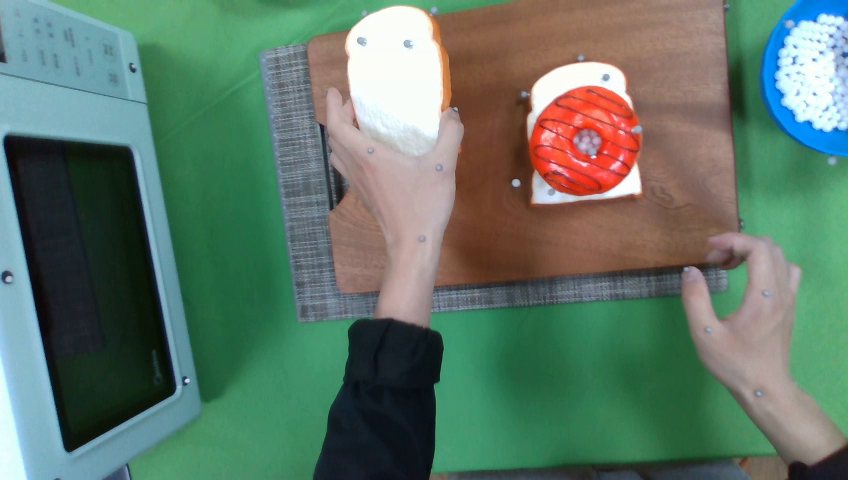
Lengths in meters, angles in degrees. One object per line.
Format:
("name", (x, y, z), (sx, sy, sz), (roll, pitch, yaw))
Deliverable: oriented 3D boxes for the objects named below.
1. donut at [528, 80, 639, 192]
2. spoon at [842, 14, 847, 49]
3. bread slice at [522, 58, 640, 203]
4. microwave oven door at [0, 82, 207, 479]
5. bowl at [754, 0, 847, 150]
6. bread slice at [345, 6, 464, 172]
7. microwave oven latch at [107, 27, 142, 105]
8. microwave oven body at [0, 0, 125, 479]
("donut", (0.142, -0.092, 0.545), (0.099, 0.048, 0.099), (1, 97, 10))
("spoon", (0.378, -0.107, 0.496), (0.041, 0.022, 0.192), (-2, 75, 3))
("bread slice", (0.144, -0.103, 0.574), (0.105, 0.019, 0.132), (-7, 96, 10))
("microwave oven door", (-0.316, 0.040, 0.572), (0.039, 0.244, 0.356), (-9, 94, 12))
("bowl", (0.359, -0.151, 0.527), (0.151, 0.077, 0.151), (1, 97, 11))
("bread slice", (-0.023, -0.132, 0.531), (0.106, 0.018, 0.134), (-9, 96, 32))
("microwave oven latch", (-0.331, -0.186, 0.654), (0.030, 0.029, 0.079), (-10, 95, 11))
("microwave oven body", (-0.464, 0.019, 0.602), (0.325, 0.260, 0.442), (-9, 95, 11))
